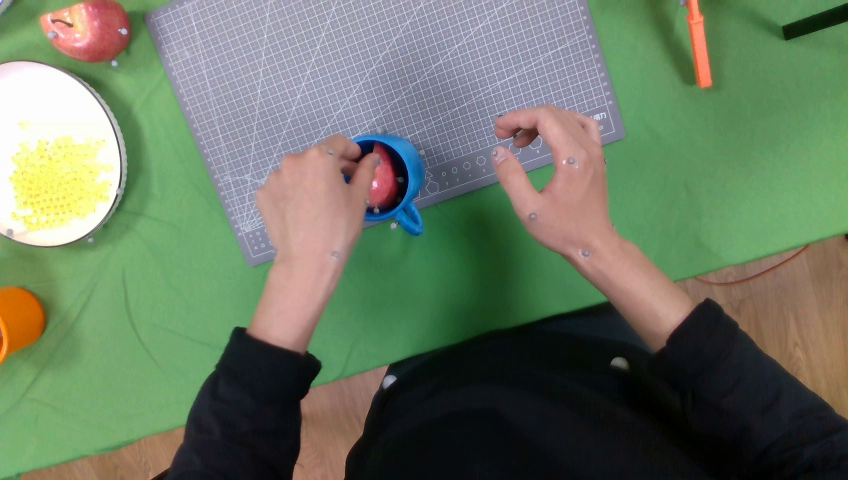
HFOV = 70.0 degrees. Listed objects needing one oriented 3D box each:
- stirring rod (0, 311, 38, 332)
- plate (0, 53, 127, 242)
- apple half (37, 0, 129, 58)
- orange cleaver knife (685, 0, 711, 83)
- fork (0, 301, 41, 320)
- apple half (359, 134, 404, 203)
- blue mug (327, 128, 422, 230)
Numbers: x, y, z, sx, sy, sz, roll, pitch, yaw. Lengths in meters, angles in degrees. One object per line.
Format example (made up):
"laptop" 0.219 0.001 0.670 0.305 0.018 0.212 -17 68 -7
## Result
"stirring rod" -0.540 0.114 0.688 0.176 0.006 0.014 -18 90 -33
"plate" -0.434 -0.103 0.688 0.209 0.038 0.210 1 103 5
"apple half" -0.351 -0.220 0.638 0.081 0.074 0.053 -15 104 4
"orange cleaver knife" 0.248 -0.254 0.575 0.012 0.076 0.213 -15 126 17
"fork" -0.554 0.099 0.683 0.208 0.018 0.028 -10 103 -37
"apple half" -0.036 -0.071 0.616 0.032 0.081 0.081 14 103 12
"blue mug" -0.038 -0.060 0.626 0.082 0.105 0.117 -34 97 11
